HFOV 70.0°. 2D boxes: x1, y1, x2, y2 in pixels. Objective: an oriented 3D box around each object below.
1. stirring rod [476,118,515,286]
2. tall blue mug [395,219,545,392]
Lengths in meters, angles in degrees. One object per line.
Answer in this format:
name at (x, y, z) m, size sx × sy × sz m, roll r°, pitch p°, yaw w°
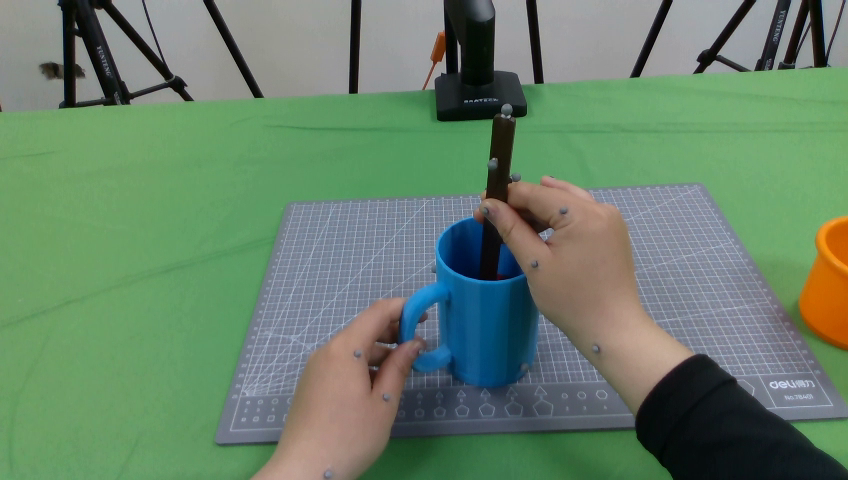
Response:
stirring rod at (0.046, -0.009, 0.411) m, size 0.014 × 0.178 × 0.006 m, roll 15°, pitch 49°, yaw 14°
tall blue mug at (0.038, 0.058, 0.440) m, size 0.077 × 0.109 × 0.107 m, roll 19°, pitch 44°, yaw 25°
